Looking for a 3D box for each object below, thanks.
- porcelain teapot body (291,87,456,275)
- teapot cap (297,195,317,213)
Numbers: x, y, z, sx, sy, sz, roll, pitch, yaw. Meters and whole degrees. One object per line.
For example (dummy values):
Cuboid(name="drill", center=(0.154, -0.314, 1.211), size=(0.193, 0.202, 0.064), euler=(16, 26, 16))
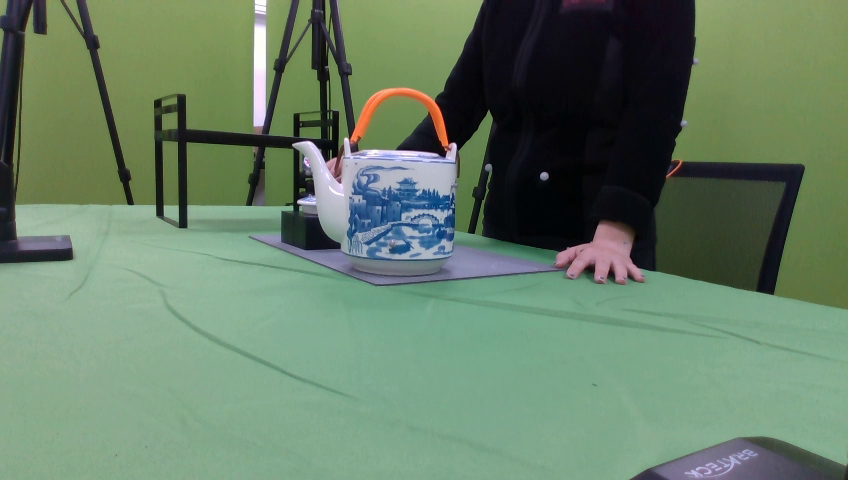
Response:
Cuboid(name="porcelain teapot body", center=(-0.060, -0.076, 0.753), size=(0.206, 0.225, 0.145), euler=(0, 8, -12))
Cuboid(name="teapot cap", center=(-0.157, -0.065, 0.950), size=(0.085, 0.044, 0.085), euler=(-1, 10, 0))
